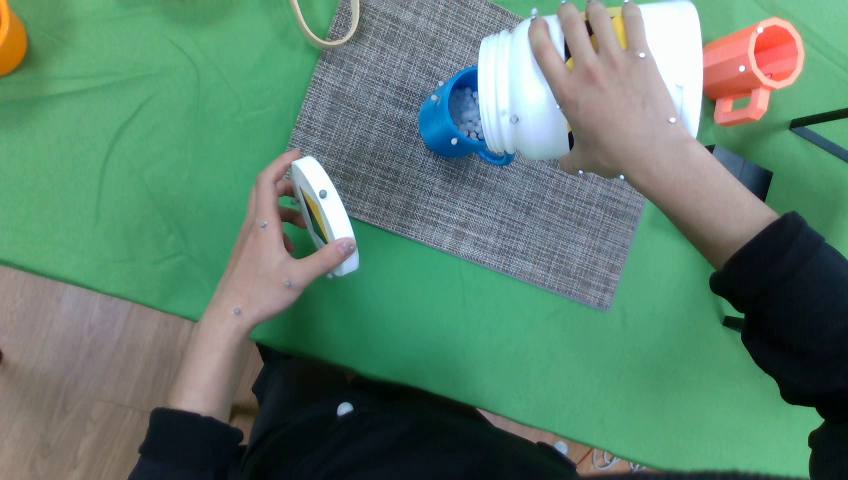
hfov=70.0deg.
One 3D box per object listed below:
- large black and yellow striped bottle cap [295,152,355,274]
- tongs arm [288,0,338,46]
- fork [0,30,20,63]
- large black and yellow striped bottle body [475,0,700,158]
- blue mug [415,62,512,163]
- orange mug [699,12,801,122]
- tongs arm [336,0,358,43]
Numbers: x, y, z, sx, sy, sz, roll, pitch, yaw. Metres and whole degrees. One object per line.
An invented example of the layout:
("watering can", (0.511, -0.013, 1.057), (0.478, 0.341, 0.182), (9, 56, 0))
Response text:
("large black and yellow striped bottle cap", (-0.093, -0.024, 0.561), (0.019, 0.114, 0.115), (-20, 97, -18))
("tongs arm", (-0.171, -0.392, 0.621), (0.051, 0.026, 0.386), (-20, 104, -18))
("fork", (-0.447, -0.221, 0.510), (0.028, 0.018, 0.209), (-59, 148, -8))
("large black and yellow striped bottle body", (0.147, -0.144, 0.560), (0.183, 0.131, 0.131), (-1, 92, 16))
("blue mug", (0.053, -0.131, 0.677), (0.082, 0.105, 0.117), (-46, 103, -10))
("orange mug", (0.413, -0.219, 0.785), (0.084, 0.100, 0.126), (10, 85, -16))
("tongs arm", (-0.093, -0.412, 0.646), (0.028, 0.027, 0.388), (-6, 100, -24))
